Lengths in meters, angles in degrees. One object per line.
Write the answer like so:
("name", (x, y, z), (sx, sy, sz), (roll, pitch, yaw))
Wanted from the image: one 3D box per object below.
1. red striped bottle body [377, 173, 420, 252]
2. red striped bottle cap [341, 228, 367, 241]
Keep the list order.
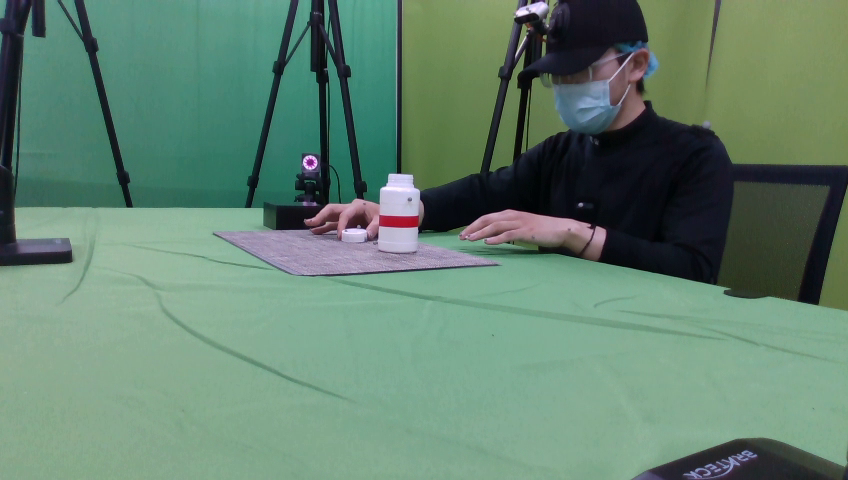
("red striped bottle body", (-0.039, -0.044, 0.936), (0.063, 0.119, 0.063), (2, 7, 0))
("red striped bottle cap", (-0.120, -0.009, 1.035), (0.044, 0.017, 0.044), (-1, 8, 1))
